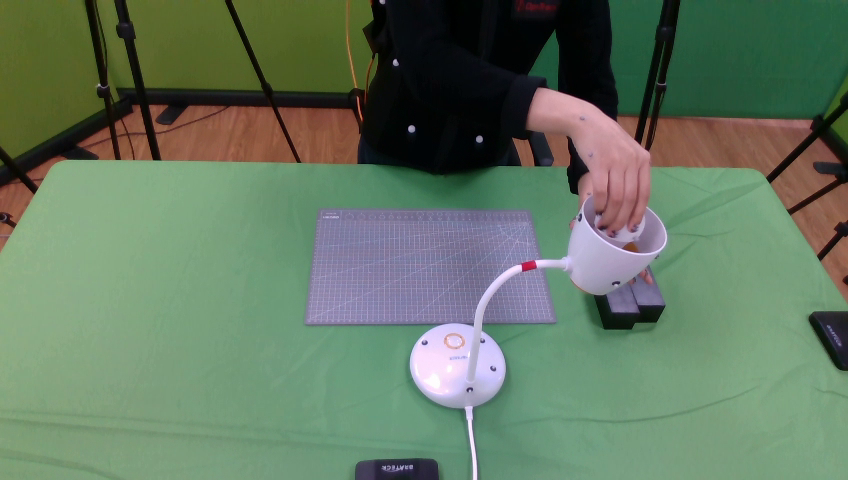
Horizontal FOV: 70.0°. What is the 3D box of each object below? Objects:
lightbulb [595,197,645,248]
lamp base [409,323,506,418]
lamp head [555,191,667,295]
[{"bbox_3d":[0.244,-0.007,0.781,0.059,0.108,0.059,7,40,-6],"label":"lightbulb"},{"bbox_3d":[0.063,0.161,0.940,0.161,0.181,0.178,-10,51,-13],"label":"lamp base"},{"bbox_3d":[0.234,0.015,0.792,0.113,0.123,0.111,13,43,-12],"label":"lamp head"}]
